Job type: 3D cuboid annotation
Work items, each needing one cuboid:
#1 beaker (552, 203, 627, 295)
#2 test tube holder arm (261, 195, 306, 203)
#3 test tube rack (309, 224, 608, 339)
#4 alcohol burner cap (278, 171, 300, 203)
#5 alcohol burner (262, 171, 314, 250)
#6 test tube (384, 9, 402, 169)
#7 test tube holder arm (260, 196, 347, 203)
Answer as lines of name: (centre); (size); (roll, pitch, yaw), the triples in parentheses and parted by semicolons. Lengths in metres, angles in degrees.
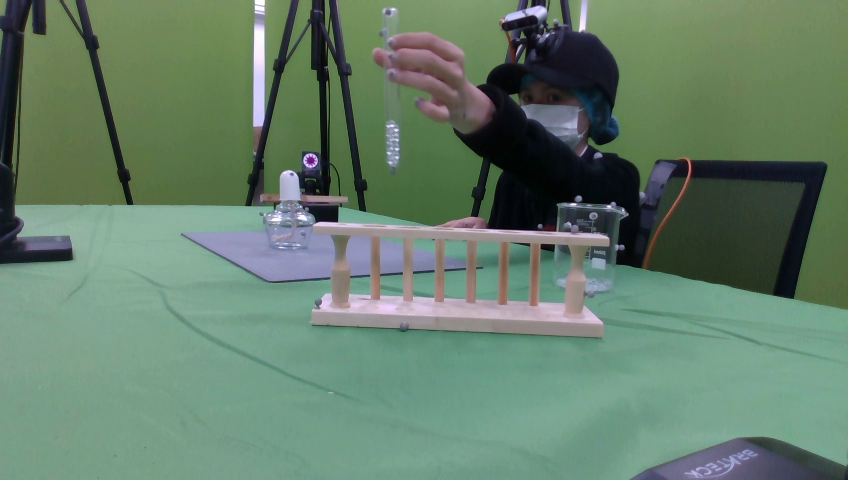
beaker: (0.191, 0.010, 0.708); (0.083, 0.100, 0.074); (8, 9, 33)
test tube holder arm: (-0.275, -0.081, 1.184); (0.088, 0.015, 0.010); (-1, 0, -32)
test tube rack: (0.028, 0.032, 0.527); (0.242, 0.085, 0.067); (3, 7, 0)
alcohol burner cap: (-0.203, -0.080, 0.909); (0.034, 0.048, 0.034); (-1, 3, 0)
alcohol burner: (-0.205, -0.045, 0.913); (0.078, 0.119, 0.078); (1, 9, 0)
test tube: (-0.030, -0.145, 0.587); (0.017, 0.150, 0.017); (0, 9, 0)
test tube holder arm: (-0.239, -0.082, 1.213); (0.179, 0.015, 0.013); (-1, 0, -32)
